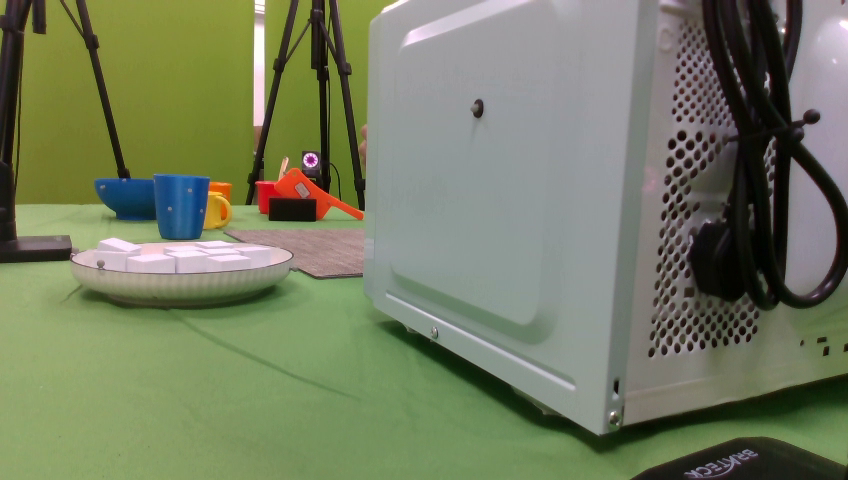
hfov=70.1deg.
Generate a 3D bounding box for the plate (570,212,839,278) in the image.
[{"bbox_3d":[0.230,0.001,0.519,0.209,0.038,0.209,2,7,0],"label":"plate"}]

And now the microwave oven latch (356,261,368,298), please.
[{"bbox_3d":[-0.019,0.033,0.529,0.079,0.029,0.030,0,7,-25],"label":"microwave oven latch"}]

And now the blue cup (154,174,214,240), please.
[{"bbox_3d":[-0.390,-0.053,0.978,0.093,0.100,0.092,3,6,0],"label":"blue cup"}]

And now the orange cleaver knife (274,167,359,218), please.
[{"bbox_3d":[-0.238,-0.090,1.381,0.212,0.077,0.012,31,0,-19],"label":"orange cleaver knife"}]

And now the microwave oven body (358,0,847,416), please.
[{"bbox_3d":[0.211,-0.047,0.474,0.444,0.260,0.324,-1,7,-28],"label":"microwave oven body"}]

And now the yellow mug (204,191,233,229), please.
[{"bbox_3d":[-0.415,-0.057,1.132,0.130,0.064,0.100,6,8,16],"label":"yellow mug"}]

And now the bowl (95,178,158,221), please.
[{"bbox_3d":[-0.576,-0.081,1.217,0.151,0.077,0.151,3,8,0],"label":"bowl"}]

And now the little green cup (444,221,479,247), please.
[{"bbox_3d":[0.064,-0.011,1.035,0.061,0.038,0.061,1,9,0],"label":"little green cup"}]

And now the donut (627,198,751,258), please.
[{"bbox_3d":[0.225,-0.010,0.518,0.099,0.048,0.099,4,8,0],"label":"donut"}]

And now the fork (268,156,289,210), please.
[{"bbox_3d":[-0.360,-0.144,1.508,0.028,0.018,0.207,1,49,0],"label":"fork"}]

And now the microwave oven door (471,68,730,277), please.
[{"bbox_3d":[0.213,-0.096,0.820,0.039,0.243,0.354,-5,11,-45],"label":"microwave oven door"}]

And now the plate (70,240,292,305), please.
[{"bbox_3d":[-0.242,0.031,0.618,0.208,0.039,0.207,2,8,0],"label":"plate"}]

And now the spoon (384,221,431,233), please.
[{"bbox_3d":[-0.024,-0.029,1.187,0.041,0.021,0.194,-12,0,23],"label":"spoon"}]
